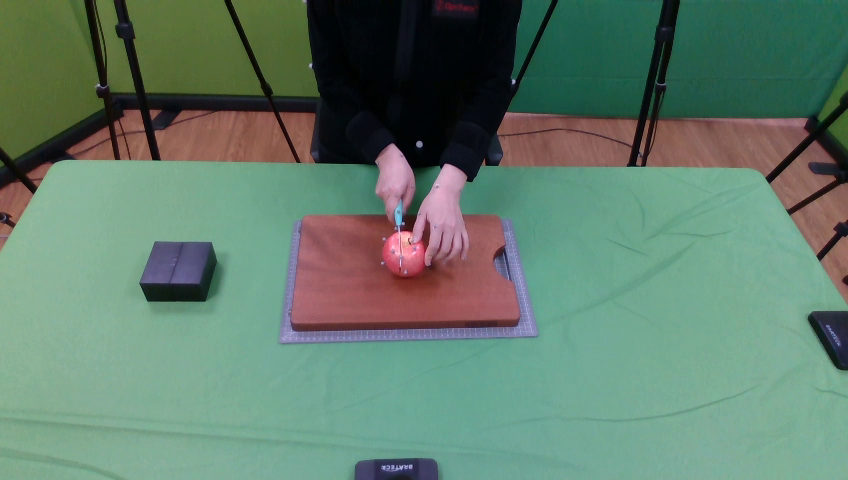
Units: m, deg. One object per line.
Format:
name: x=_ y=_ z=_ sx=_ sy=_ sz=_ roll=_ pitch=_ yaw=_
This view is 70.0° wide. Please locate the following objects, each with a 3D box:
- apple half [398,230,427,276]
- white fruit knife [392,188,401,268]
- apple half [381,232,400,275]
apple half: x=-0.022 y=0.026 z=1.096 sx=0.053 sy=0.075 sz=0.080 roll=4 pitch=42 yaw=-10
white fruit knife: x=-0.047 y=-0.027 z=1.110 sx=0.016 sy=0.027 sz=0.206 roll=-4 pitch=47 yaw=-2
apple half: x=-0.061 y=0.027 z=1.091 sx=0.033 sy=0.081 sz=0.081 roll=-1 pitch=46 yaw=-5
